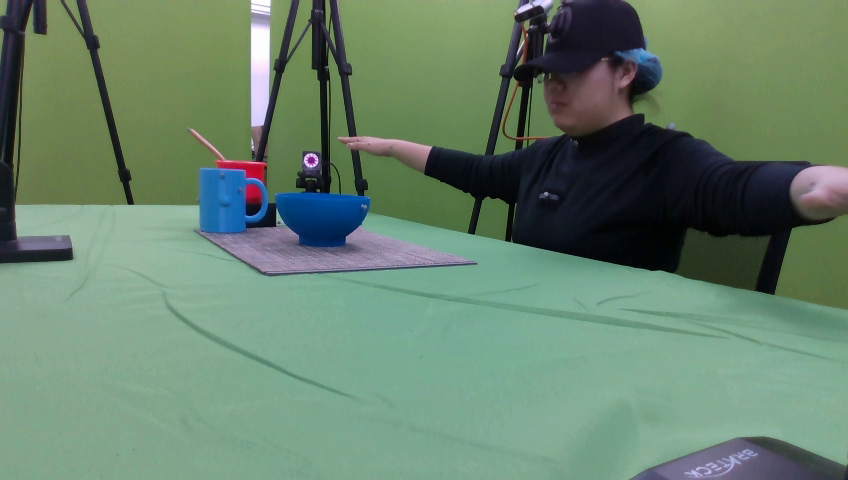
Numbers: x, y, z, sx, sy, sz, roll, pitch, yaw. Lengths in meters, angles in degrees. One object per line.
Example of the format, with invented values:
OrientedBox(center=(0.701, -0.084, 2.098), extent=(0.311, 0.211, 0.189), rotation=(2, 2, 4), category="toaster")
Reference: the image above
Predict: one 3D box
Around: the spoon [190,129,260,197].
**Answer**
OrientedBox(center=(-0.388, -0.150, 1.174), extent=(0.193, 0.021, 0.042), rotation=(49, 19, 7), category="spoon")

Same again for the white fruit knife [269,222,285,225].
OrientedBox(center=(-0.222, -0.038, 1.261), extent=(0.208, 0.016, 0.027), rotation=(-4, -17, -31), category="white fruit knife")

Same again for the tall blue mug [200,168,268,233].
OrientedBox(center=(-0.342, -0.071, 1.072), extent=(0.077, 0.108, 0.108), rotation=(8, 9, 38), category="tall blue mug")

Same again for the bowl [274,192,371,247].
OrientedBox(center=(-0.161, -0.032, 0.958), extent=(0.151, 0.077, 0.151), rotation=(3, 7, 0), category="bowl")
